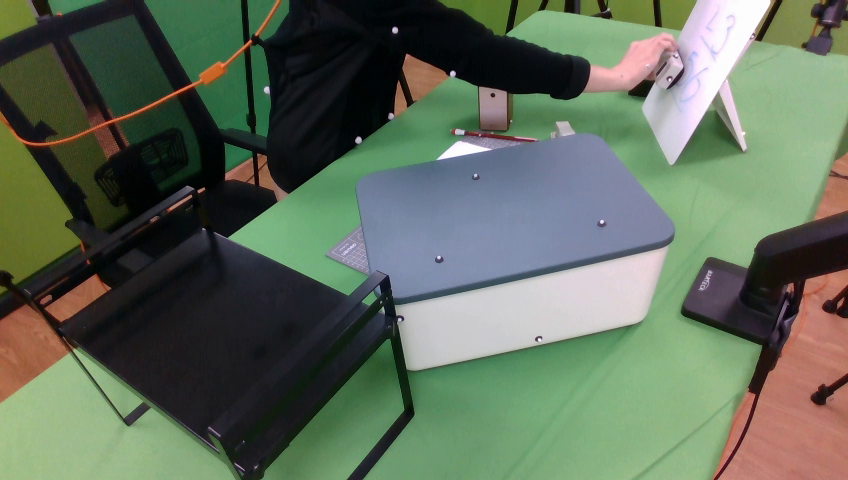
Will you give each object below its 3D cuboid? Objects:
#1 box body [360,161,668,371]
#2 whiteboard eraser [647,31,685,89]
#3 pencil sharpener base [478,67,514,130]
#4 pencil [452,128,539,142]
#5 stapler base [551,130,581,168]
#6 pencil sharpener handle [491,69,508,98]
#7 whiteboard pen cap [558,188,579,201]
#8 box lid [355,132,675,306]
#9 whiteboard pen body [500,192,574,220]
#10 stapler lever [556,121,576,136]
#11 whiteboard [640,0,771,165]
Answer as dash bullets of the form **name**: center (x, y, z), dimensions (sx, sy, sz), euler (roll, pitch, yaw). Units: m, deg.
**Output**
- **box body**: center (0.109, 0.014, 0.833), dimensions (0.365, 0.161, 0.252), euler (-11, 41, -5)
- **whiteboard eraser**: center (0.455, -0.336, 1.132), dimensions (0.042, 0.055, 0.112), euler (14, 50, -12)
- **pencil sharpener base**: center (0.148, -0.287, 1.224), dimensions (0.061, 0.107, 0.076), euler (5, 42, 15)
- **pencil**: center (0.146, -0.207, 1.205), dimensions (0.193, 0.012, 0.012), euler (11, 43, 20)
- **stapler base**: center (0.268, -0.178, 1.142), dimensions (0.041, 0.024, 0.130), euler (1, 37, 3)
- **pencil sharpener handle**: center (0.156, -0.330, 1.254), dimensions (0.036, 0.068, 0.030), euler (16, 43, 4)
- **whiteboard pen cap**: center (0.245, -0.076, 1.028), dimensions (0.033, 0.018, 0.018), euler (-18, 42, -14)
- **box lid**: center (0.103, -0.042, 0.785), dimensions (0.372, 0.015, 0.261), euler (-12, 41, -5)
- **whiteboard pen body**: center (0.191, -0.059, 1.011), dimensions (0.141, 0.017, 0.017), euler (-18, 42, -15)
- **stapler lever**: center (0.267, -0.198, 1.128), dimensions (0.027, 0.040, 0.117), euler (1, 38, 3)
- **whiteboard**: center (0.544, -0.299, 1.076), dimensions (0.144, 0.305, 0.216), euler (12, 40, -7)
